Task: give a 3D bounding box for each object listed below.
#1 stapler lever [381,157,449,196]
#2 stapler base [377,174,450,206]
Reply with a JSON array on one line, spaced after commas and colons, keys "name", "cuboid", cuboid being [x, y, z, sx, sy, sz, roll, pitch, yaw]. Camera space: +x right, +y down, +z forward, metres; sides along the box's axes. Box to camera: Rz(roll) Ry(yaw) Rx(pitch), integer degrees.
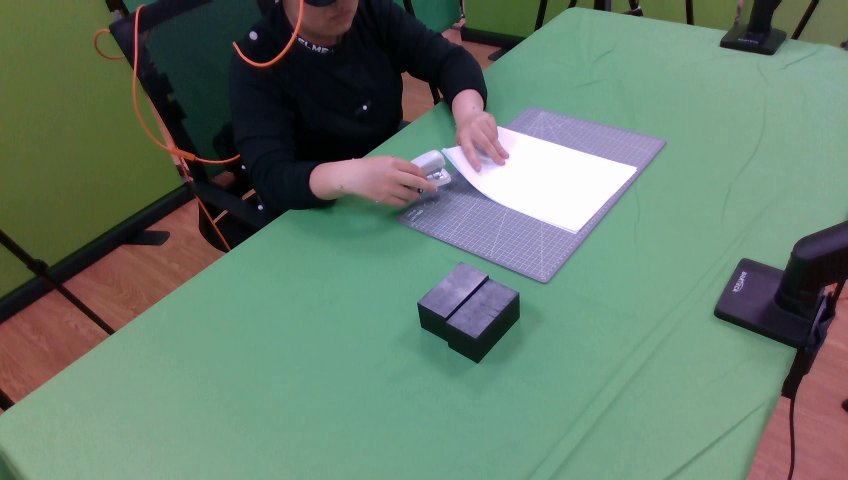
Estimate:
[{"name": "stapler lever", "cuboid": [-0.013, -0.109, 1.032, 0.118, 0.040, 0.026, -19, 66, -16]}, {"name": "stapler base", "cuboid": [-0.015, -0.098, 1.056, 0.131, 0.024, 0.041, -19, 66, -17]}]
